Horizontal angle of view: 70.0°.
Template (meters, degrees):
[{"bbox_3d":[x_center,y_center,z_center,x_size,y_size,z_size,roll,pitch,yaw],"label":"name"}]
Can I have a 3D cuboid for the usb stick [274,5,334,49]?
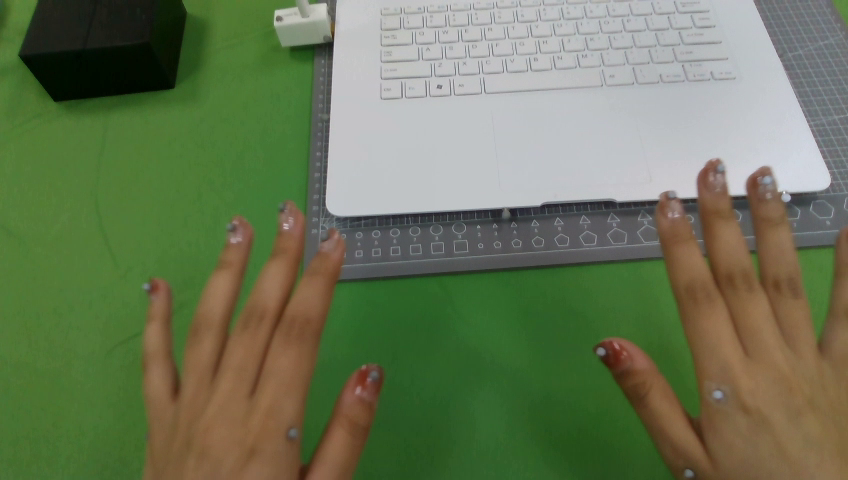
[{"bbox_3d":[-0.094,-0.179,0.509,0.059,0.027,0.021,-5,58,1],"label":"usb stick"}]

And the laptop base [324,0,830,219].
[{"bbox_3d":[0.102,-0.121,0.479,0.354,0.023,0.233,-3,62,1],"label":"laptop base"}]
